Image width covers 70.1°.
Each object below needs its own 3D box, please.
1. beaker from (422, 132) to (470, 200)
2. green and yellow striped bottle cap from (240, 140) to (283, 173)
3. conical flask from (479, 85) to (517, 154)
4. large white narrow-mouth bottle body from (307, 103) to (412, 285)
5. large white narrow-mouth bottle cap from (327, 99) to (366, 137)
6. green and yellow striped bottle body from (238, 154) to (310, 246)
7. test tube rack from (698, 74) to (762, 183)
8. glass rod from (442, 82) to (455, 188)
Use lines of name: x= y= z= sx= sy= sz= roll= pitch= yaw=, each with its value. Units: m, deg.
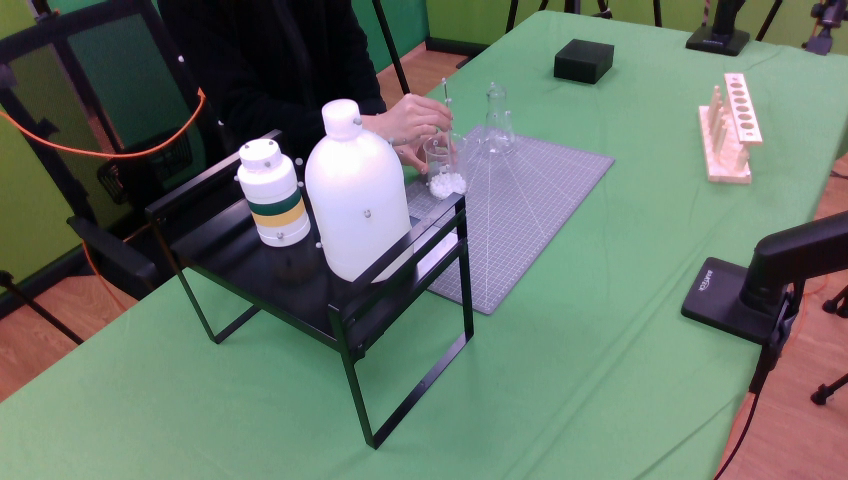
beaker: x=0.042 y=-0.128 z=1.057 sx=0.084 sy=0.100 sz=0.073 roll=-17 pitch=42 yaw=-13
green and yellow striped bottle cap: x=-0.183 y=-0.094 z=0.679 sx=0.045 sy=0.020 sz=0.045 roll=-4 pitch=38 yaw=4
conical flask: x=0.139 y=-0.231 z=1.145 sx=0.075 sy=0.122 sz=0.075 roll=-4 pitch=41 yaw=4
large white narrow-mouth bottle body: x=-0.070 y=-0.051 z=0.638 sx=0.102 sy=0.195 sz=0.101 roll=-3 pitch=40 yaw=3
large white narrow-mouth bottle cap: x=-0.075 y=-0.118 z=0.582 sx=0.038 sy=0.024 sz=0.037 roll=-3 pitch=40 yaw=3
green and yellow striped bottle body: x=-0.178 y=-0.056 z=0.714 sx=0.063 sy=0.120 sz=0.063 roll=-4 pitch=40 yaw=4
test tube rack: x=0.547 y=-0.208 z=1.094 sx=0.066 sy=0.085 sz=0.242 roll=5 pitch=42 yaw=15
glass rod: x=0.042 y=-0.169 z=1.005 sx=0.008 sy=0.200 sz=0.008 roll=-4 pitch=39 yaw=4
